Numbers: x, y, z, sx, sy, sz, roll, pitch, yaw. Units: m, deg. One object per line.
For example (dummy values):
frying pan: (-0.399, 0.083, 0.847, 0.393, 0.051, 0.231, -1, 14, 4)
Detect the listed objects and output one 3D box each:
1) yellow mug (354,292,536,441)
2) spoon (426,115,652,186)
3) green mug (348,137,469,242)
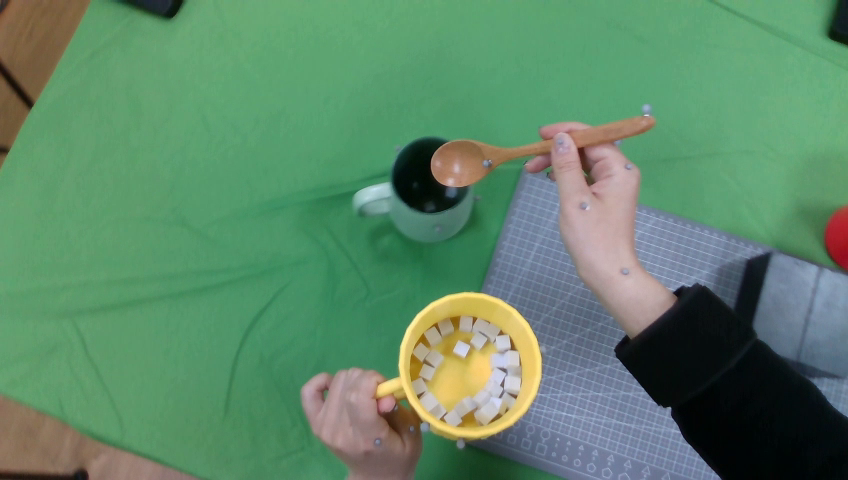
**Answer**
yellow mug: (0.012, 0.099, 0.442, 0.131, 0.064, 0.099, -16, 72, -7)
spoon: (0.081, -0.071, 0.474, 0.022, 0.192, 0.042, -25, 106, -47)
green mug: (-0.015, -0.046, 0.613, 0.125, 0.105, 0.092, -13, 80, -3)
